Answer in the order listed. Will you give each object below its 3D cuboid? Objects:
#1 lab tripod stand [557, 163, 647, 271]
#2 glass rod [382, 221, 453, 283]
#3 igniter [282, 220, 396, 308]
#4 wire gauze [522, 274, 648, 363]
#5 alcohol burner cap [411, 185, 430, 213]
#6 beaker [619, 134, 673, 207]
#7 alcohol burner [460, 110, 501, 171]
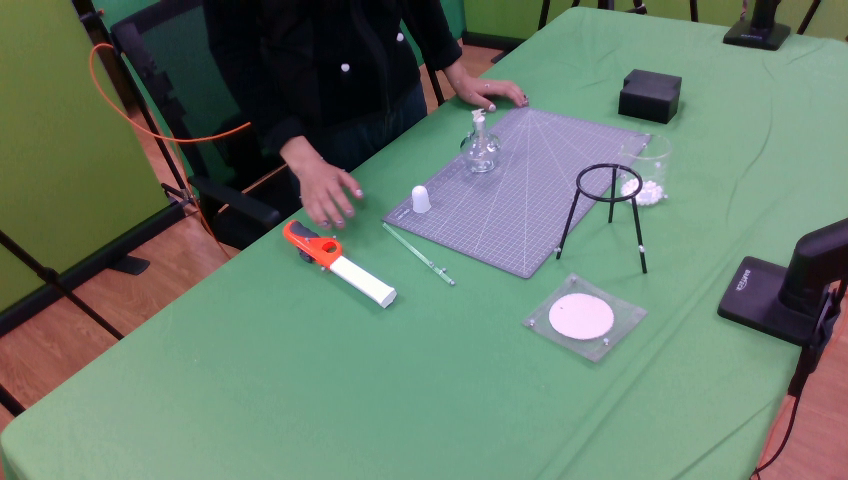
[{"bbox_3d":[0.271,-0.034,0.885,0.148,0.132,0.147,-4,40,4],"label":"lab tripod stand"},{"bbox_3d":[-0.014,0.016,0.976,0.008,0.008,0.198,-29,44,-22],"label":"glass rod"},{"bbox_3d":[-0.146,0.032,0.966,0.274,0.025,0.057,30,65,37],"label":"igniter"},{"bbox_3d":[0.220,0.105,0.828,0.125,0.011,0.120,-35,47,-30],"label":"wire gauze"},{"bbox_3d":[-0.008,-0.074,1.050,0.034,0.048,0.033,-4,40,4],"label":"alcohol burner cap"},{"bbox_3d":[0.356,-0.111,0.986,0.084,0.101,0.073,-10,40,1],"label":"beaker"},{"bbox_3d":[0.103,-0.186,1.106,0.078,0.119,0.077,-4,42,4],"label":"alcohol burner"}]
